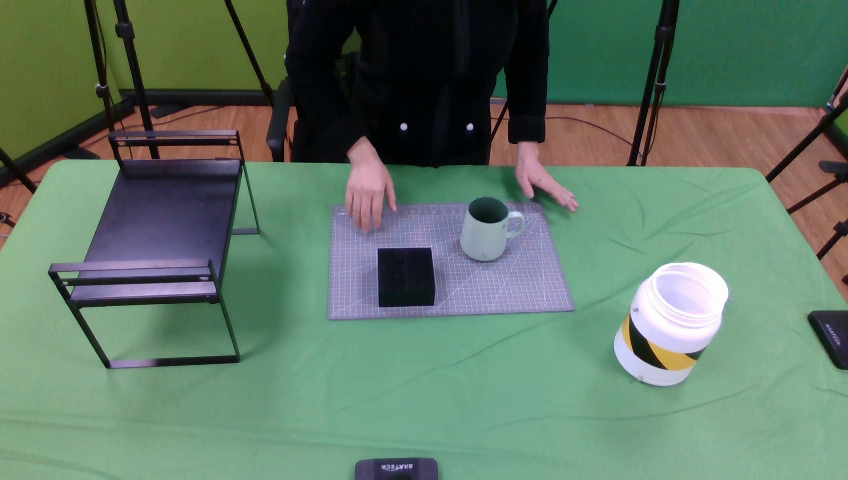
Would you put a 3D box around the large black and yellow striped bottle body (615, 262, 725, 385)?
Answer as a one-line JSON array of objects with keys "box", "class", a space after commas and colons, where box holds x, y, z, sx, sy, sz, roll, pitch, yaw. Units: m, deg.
[{"box": [0.397, 0.135, 0.982, 0.131, 0.185, 0.130, 2, 46, -2], "class": "large black and yellow striped bottle body"}]

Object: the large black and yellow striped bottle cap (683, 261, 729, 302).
[{"box": [0.519, 0.087, 1.153, 0.115, 0.019, 0.114, 2, 47, -2], "class": "large black and yellow striped bottle cap"}]

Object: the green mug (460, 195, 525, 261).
[{"box": [0.135, -0.024, 1.168, 0.125, 0.105, 0.092, -8, 47, -11], "class": "green mug"}]
